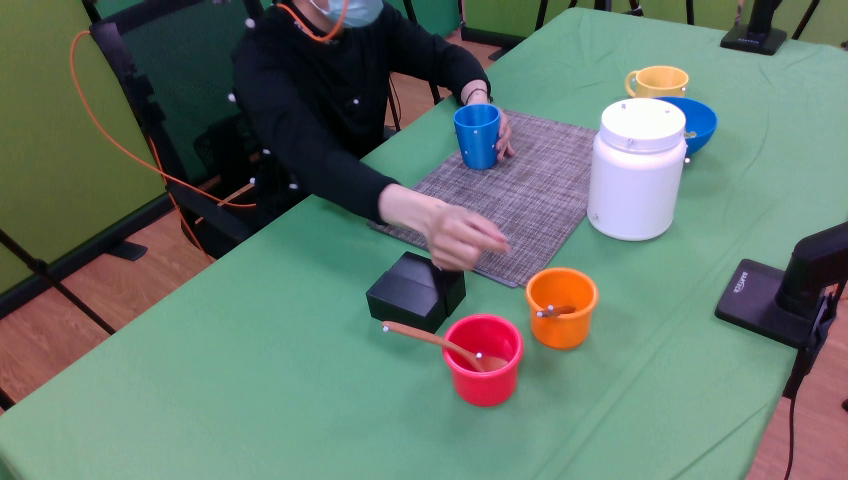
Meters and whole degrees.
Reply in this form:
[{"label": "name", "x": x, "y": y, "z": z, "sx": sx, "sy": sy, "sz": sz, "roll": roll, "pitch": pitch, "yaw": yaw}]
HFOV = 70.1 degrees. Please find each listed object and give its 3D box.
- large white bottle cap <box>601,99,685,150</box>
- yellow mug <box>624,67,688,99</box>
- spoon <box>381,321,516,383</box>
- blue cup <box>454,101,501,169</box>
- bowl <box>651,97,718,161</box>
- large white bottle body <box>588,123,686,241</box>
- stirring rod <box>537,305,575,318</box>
[{"label": "large white bottle cap", "x": 0.314, "y": -0.168, "z": 0.870, "sx": 0.115, "sy": 0.018, "sz": 0.114, "roll": -4, "pitch": 41, "yaw": 4}, {"label": "yellow mug", "x": 0.464, "y": -0.305, "z": 1.230, "sx": 0.100, "sy": 0.064, "sz": 0.129, "roll": -34, "pitch": 46, "yaw": -27}, {"label": "spoon", "x": 0.033, "y": 0.131, "z": 0.725, "sx": 0.195, "sy": 0.021, "sz": 0.041, "roll": 29, "pitch": 30, "yaw": -26}, {"label": "blue cup", "x": 0.102, "y": -0.188, "z": 1.114, "sx": 0.092, "sy": 0.101, "sz": 0.092, "roll": -6, "pitch": 41, "yaw": 6}, {"label": "bowl", "x": 0.439, "y": -0.187, "z": 1.087, "sx": 0.151, "sy": 0.077, "sz": 0.150, "roll": -4, "pitch": 41, "yaw": 4}, {"label": "large white bottle body", "x": 0.323, "y": -0.105, "z": 0.926, "sx": 0.130, "sy": 0.185, "sz": 0.130, "roll": -4, "pitch": 41, "yaw": 4}, {"label": "stirring rod", "x": 0.168, "y": 0.088, "z": 0.759, "sx": 0.014, "sy": 0.006, "sz": 0.177, "roll": 8, "pitch": 1, "yaw": 24}]
